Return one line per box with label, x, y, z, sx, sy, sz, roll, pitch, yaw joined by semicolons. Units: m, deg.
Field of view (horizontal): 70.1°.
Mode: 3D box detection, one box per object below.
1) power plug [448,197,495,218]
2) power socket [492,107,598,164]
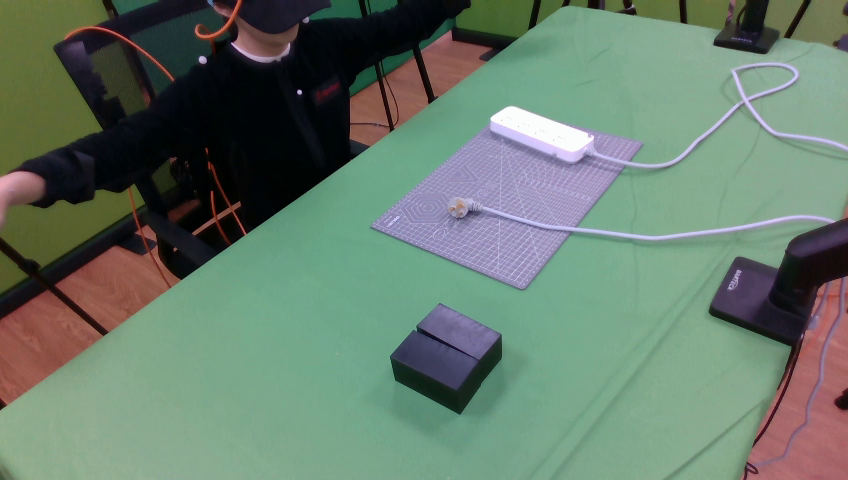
power plug;0.076;-0.055;1.010;0.072;0.035;0.053;0;23;27
power socket;0.227;-0.205;1.170;0.072;0.033;0.225;-36;48;-28
